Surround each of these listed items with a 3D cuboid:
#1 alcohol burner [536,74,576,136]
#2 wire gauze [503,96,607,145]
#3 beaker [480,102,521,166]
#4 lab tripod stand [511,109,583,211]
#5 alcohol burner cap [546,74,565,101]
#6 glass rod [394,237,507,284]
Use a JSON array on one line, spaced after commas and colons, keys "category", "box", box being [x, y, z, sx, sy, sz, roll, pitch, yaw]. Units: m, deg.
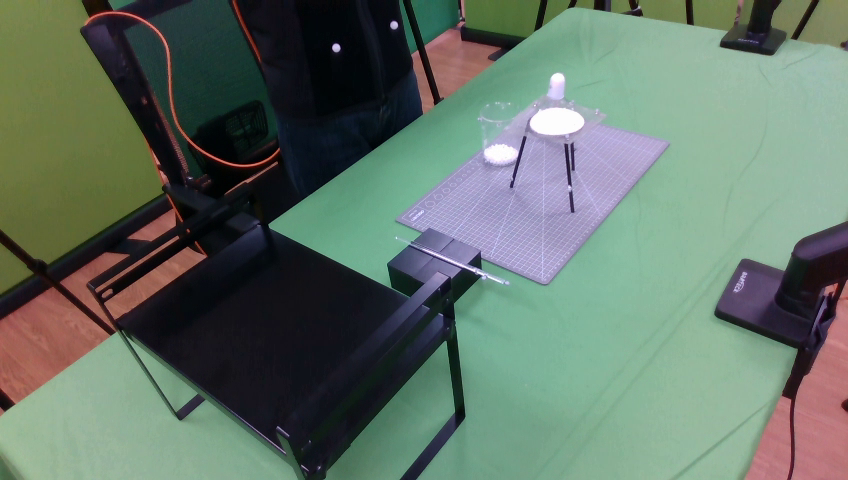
[{"category": "alcohol burner", "box": [0.256, -0.264, 1.173, 0.078, 0.119, 0.077, -6, 40, 6]}, {"category": "wire gauze", "box": [0.211, -0.192, 0.975, 0.120, 0.011, 0.125, 24, 49, 32]}, {"category": "beaker", "box": [0.143, -0.196, 1.120, 0.074, 0.101, 0.084, 3, 41, 12]}, {"category": "lab tripod stand", "box": [0.220, -0.138, 1.014, 0.148, 0.132, 0.147, -3, 41, 3]}, {"category": "alcohol burner cap", "box": [0.251, -0.292, 1.150, 0.034, 0.048, 0.033, 0, 41, 0]}, {"category": "glass rod", "box": [0.033, 0.028, 0.875, 0.198, 0.008, 0.008, 21, 48, 31]}]
